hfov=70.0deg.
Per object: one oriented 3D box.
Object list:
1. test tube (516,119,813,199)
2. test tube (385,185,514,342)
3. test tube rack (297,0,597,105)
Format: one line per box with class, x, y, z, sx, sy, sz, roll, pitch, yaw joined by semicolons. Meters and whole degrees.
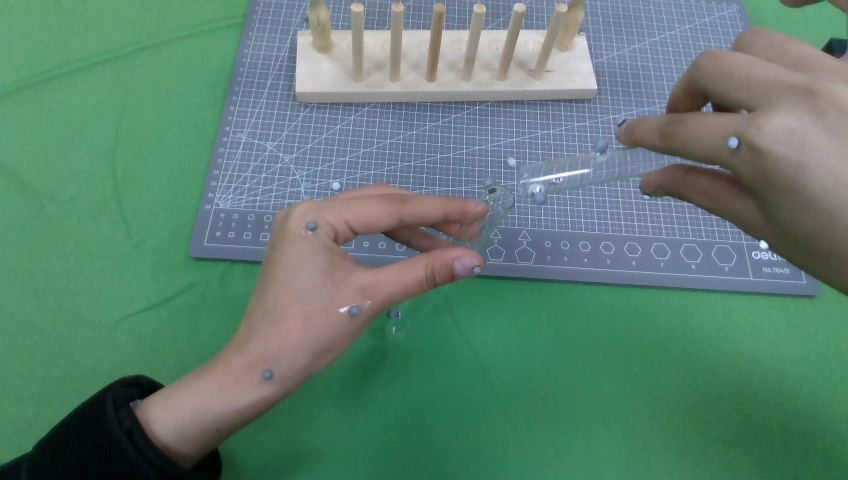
test tube;0.116;-0.040;0.287;0.150;0.017;0.017;-11;64;-9
test tube;0.008;0.021;0.336;0.017;0.151;0.017;13;52;-17
test tube rack;0.021;-0.160;0.471;0.243;0.086;0.066;-2;63;-5
